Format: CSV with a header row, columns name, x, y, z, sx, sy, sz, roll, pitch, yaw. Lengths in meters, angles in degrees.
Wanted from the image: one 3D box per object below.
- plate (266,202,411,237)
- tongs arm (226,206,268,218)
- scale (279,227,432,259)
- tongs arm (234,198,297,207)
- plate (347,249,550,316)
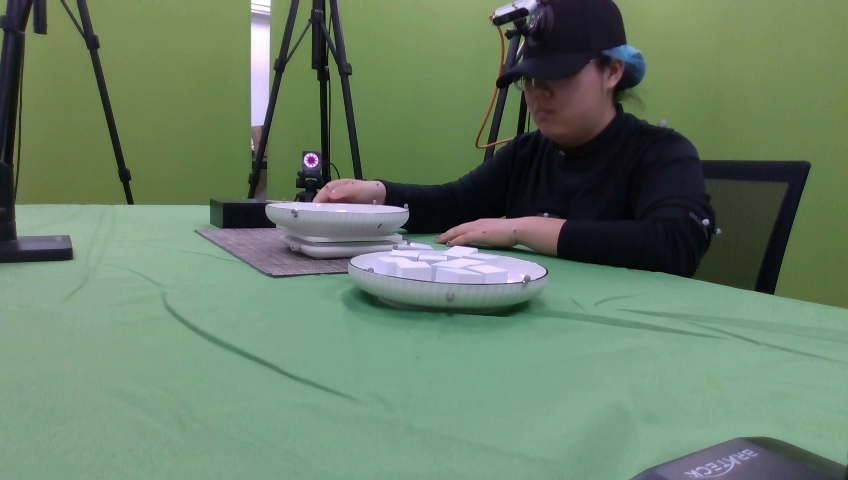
name,x,y,z,sx,sy,sz,roll,pitch,yaw
plate,-0.123,-0.030,0.879,0.208,0.039,0.207,2,6,0
tongs arm,-0.247,-0.061,1.380,0.389,0.028,0.028,0,5,-21
scale,-0.100,0.001,0.899,0.202,0.031,0.148,-1,9,-31
tongs arm,-0.263,-0.076,1.459,0.386,0.026,0.050,3,8,-8
plate,0.025,0.042,0.627,0.209,0.038,0.209,2,7,0
